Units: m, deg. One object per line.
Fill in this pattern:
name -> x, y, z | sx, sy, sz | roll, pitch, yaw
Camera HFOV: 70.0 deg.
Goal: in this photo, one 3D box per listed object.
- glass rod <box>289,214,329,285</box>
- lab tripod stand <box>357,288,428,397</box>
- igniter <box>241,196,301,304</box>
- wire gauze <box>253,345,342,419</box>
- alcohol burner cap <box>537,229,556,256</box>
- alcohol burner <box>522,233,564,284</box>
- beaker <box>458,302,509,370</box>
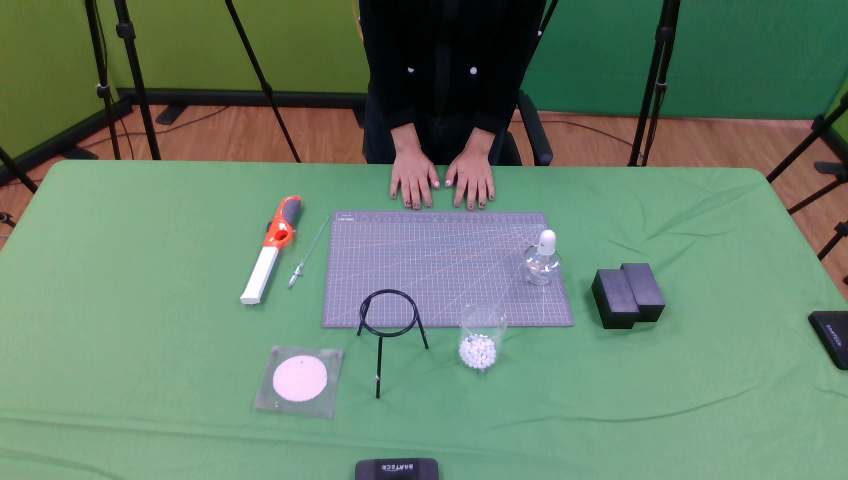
glass rod -> -0.221, 0.014, 1.179 | 0.008, 0.008, 0.199 | 12, 46, 8
lab tripod stand -> -0.058, 0.155, 0.967 | 0.148, 0.132, 0.147 | 3, 47, -3
igniter -> -0.290, 0.010, 1.164 | 0.057, 0.025, 0.275 | 0, 45, 10
wire gauze -> -0.200, 0.224, 0.979 | 0.125, 0.011, 0.121 | 7, 47, 0
alcohol burner cap -> 0.223, 0.001, 1.095 | 0.034, 0.048, 0.033 | -1, 44, 1
alcohol burner -> 0.223, 0.027, 1.121 | 0.078, 0.119, 0.077 | 2, 48, -2
beaker -> 0.092, 0.159, 0.999 | 0.083, 0.101, 0.074 | 35, 53, 28
